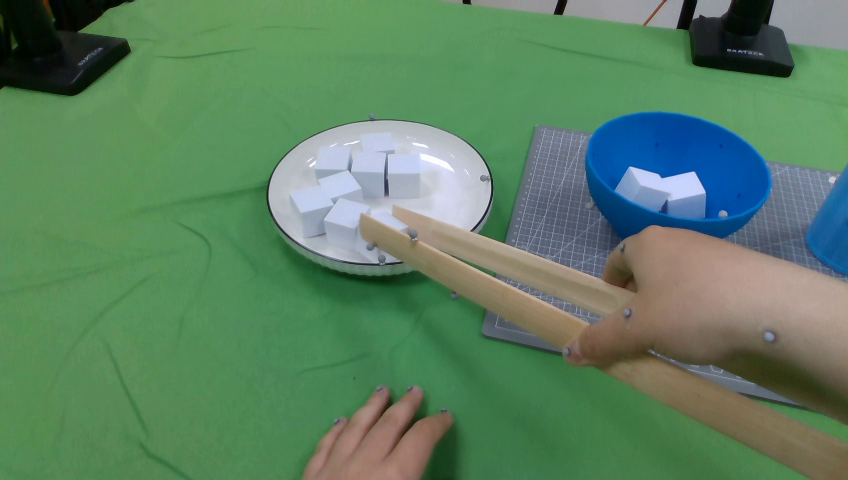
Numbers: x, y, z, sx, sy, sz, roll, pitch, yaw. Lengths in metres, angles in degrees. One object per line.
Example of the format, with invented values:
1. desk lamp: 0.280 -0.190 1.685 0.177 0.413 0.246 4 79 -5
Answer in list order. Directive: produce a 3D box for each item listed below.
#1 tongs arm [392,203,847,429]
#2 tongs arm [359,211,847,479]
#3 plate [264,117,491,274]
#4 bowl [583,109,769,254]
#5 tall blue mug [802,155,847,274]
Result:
1. tongs arm: 0.101 0.037 0.393 0.028 0.028 0.384 -13 26 -41
2. tongs arm: 0.083 0.043 0.378 0.051 0.027 0.381 -14 27 -36
3. plate: -0.042 -0.043 0.567 0.209 0.038 0.207 1 46 -1
4. bowl: 0.210 -0.041 0.536 0.151 0.077 0.150 1 45 0
5. tall blue mug: 0.395 -0.027 0.502 0.106 0.109 0.077 20 48 19
